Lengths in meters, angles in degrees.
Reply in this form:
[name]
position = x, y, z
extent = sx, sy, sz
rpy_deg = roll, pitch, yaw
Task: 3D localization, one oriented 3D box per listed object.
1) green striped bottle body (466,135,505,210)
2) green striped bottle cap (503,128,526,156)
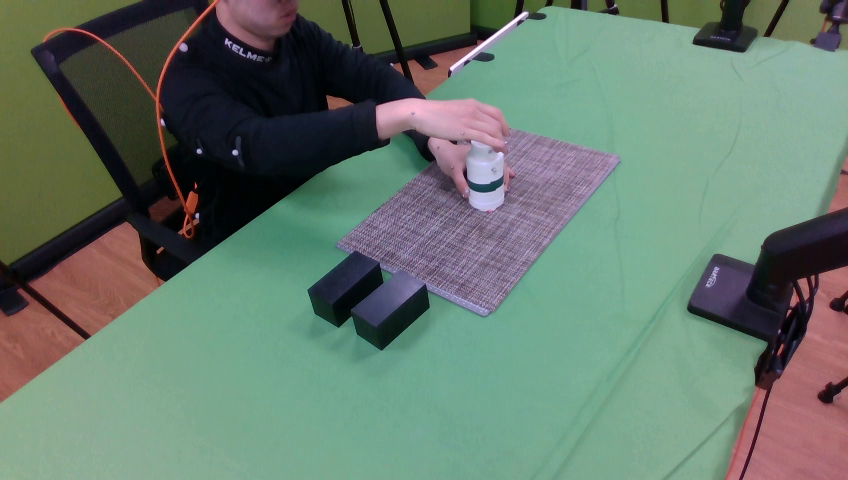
[green striped bottle body]
position = 0.102, -0.114, 1.005
extent = 0.063, 0.120, 0.063
rpy_deg = -4, 41, 4
[green striped bottle cap]
position = 0.141, -0.153, 0.944
extent = 0.020, 0.044, 0.044
rpy_deg = -3, 37, -20
